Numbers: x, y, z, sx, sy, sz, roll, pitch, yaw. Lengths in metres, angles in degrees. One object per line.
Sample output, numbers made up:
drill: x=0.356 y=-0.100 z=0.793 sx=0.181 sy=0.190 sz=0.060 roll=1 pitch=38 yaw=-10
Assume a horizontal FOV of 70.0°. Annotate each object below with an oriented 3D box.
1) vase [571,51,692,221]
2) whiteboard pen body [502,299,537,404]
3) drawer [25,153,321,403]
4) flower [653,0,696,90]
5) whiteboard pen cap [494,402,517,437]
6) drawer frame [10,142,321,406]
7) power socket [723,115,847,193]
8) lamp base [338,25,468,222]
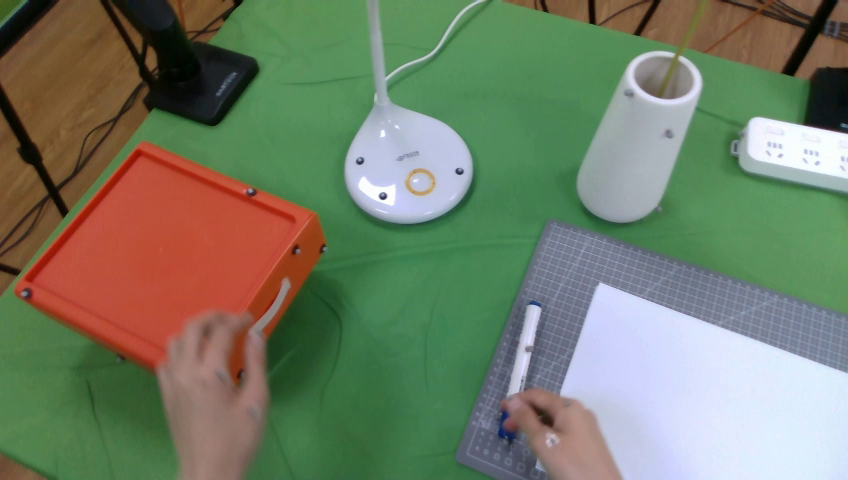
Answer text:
vase: x=0.219 y=-0.105 z=0.651 sx=0.098 sy=0.202 sz=0.097 roll=-1 pitch=60 yaw=3
whiteboard pen body: x=0.096 y=0.126 z=0.623 sx=0.017 sy=0.017 sz=0.140 roll=13 pitch=64 yaw=10
drawer: x=-0.243 y=0.029 z=0.610 sx=0.211 sy=0.074 sz=0.193 roll=22 pitch=65 yaw=14
flower: x=0.228 y=-0.158 z=0.586 sx=0.038 sy=0.364 sz=0.043 roll=8 pitch=43 yaw=-1
whiteboard pen cap: x=0.081 y=0.177 z=0.599 sx=0.018 sy=0.018 sz=0.033 roll=13 pitch=63 yaw=10
drawer frame: x=-0.248 y=0.028 z=0.612 sx=0.213 sy=0.083 sz=0.200 roll=22 pitch=65 yaw=12
power socket: x=0.485 y=-0.099 z=0.733 sx=0.226 sy=0.033 sz=0.072 roll=14 pitch=63 yaw=9
lamp base: x=-0.036 y=-0.138 z=0.689 sx=0.160 sy=0.182 sz=0.177 roll=-30 pitch=61 yaw=-14
